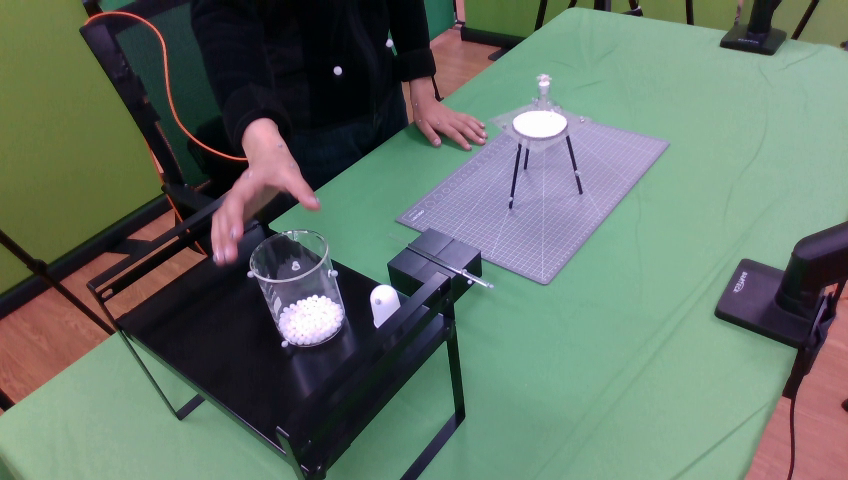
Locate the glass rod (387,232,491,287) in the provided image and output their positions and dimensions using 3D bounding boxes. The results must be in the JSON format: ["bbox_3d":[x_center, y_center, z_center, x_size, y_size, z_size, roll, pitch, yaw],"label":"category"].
[{"bbox_3d":[0.017,0.027,0.878,0.198,0.008,0.008,26,51,34],"label":"glass rod"}]

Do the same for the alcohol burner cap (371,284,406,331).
[{"bbox_3d":[-0.037,0.066,0.608,0.034,0.048,0.033,-4,42,4],"label":"alcohol burner cap"}]

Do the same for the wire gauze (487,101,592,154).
[{"bbox_3d":[0.185,-0.188,0.974,0.122,0.011,0.124,-27,44,-23],"label":"wire gauze"}]

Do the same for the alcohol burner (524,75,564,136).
[{"bbox_3d":[0.232,-0.263,1.175,0.078,0.119,0.077,-6,39,5],"label":"alcohol burner"}]

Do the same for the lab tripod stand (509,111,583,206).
[{"bbox_3d":[0.197,-0.139,1.020,0.148,0.132,0.147,-3,39,3],"label":"lab tripod stand"}]

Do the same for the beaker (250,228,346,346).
[{"bbox_3d":[-0.120,0.048,0.598,0.074,0.101,0.083,-9,40,-1],"label":"beaker"}]
